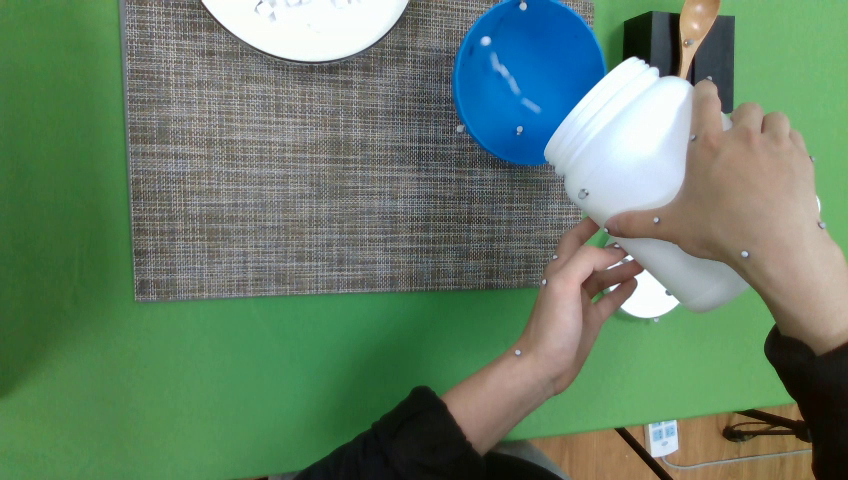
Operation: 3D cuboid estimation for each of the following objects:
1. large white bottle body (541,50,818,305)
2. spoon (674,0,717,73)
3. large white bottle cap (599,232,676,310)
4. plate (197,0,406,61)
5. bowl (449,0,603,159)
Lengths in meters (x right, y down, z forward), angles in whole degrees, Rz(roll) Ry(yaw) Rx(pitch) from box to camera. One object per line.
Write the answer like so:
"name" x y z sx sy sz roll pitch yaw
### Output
"large white bottle body" 0.199 -0.053 0.496 0.130 0.131 0.184 -43 79 -7
"spoon" 0.255 -0.165 0.617 0.042 0.021 0.194 11 100 -20
"large white bottle cap" 0.254 0.024 0.692 0.115 0.018 0.115 -2 99 -17
"plate" -0.110 -0.261 0.533 0.210 0.038 0.209 -1 95 -16
"bowl" 0.087 -0.153 0.583 0.152 0.076 0.151 -2 98 -15
